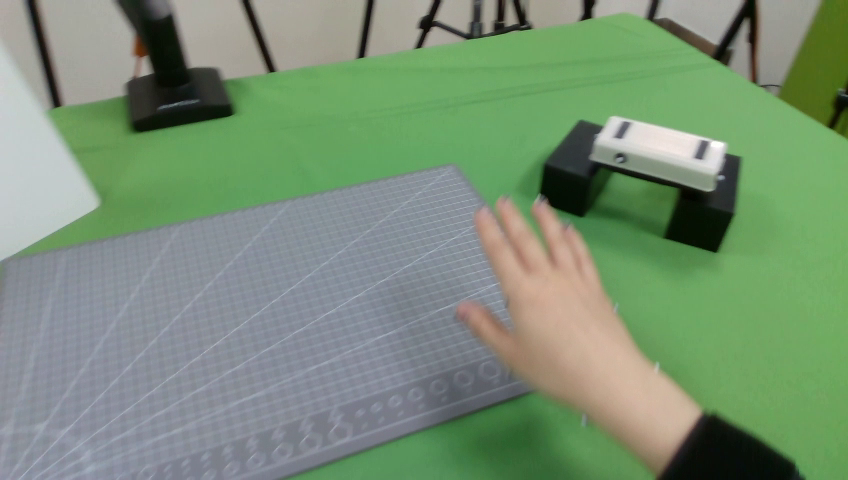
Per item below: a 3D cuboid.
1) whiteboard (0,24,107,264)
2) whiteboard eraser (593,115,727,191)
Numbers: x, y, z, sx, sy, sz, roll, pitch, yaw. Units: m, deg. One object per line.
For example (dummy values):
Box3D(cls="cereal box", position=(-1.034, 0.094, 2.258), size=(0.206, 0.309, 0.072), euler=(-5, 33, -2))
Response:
Box3D(cls="whiteboard", position=(-0.474, -0.114, 0.515), size=(0.143, 0.308, 0.217), euler=(10, 39, 39))
Box3D(cls="whiteboard eraser", position=(0.223, -0.081, 0.576), size=(0.112, 0.042, 0.055), euler=(19, 47, 23))
